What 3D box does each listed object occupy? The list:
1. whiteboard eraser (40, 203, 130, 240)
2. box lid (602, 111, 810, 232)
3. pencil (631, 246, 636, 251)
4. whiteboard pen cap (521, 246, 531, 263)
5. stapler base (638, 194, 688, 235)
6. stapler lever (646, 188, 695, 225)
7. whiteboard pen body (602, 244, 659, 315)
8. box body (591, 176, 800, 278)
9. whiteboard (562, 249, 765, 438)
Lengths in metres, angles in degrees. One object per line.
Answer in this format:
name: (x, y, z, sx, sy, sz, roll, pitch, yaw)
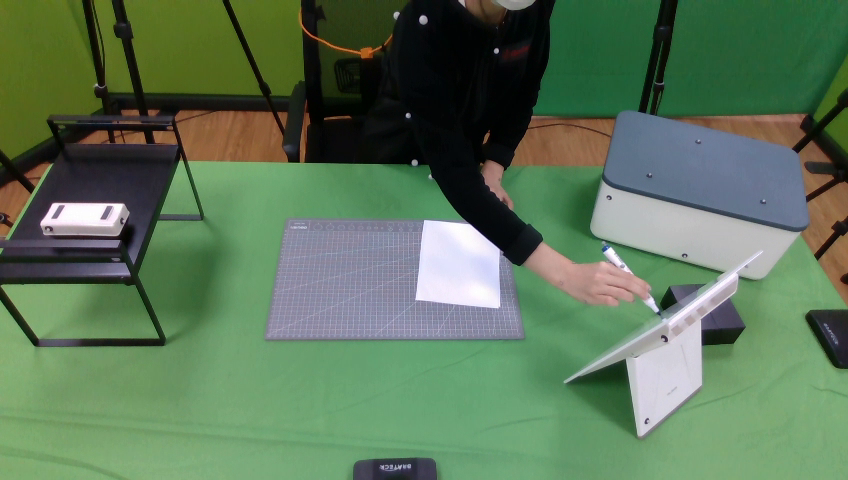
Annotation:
whiteboard eraser: (-0.513, -0.028, 0.922, 0.113, 0.042, 0.055, 1, 48, -3)
box lid: (0.545, -0.143, 1.176, 0.371, 0.015, 0.262, 15, 47, 11)
pencil: (0.431, -0.060, 1.284, 0.012, 0.012, 0.193, 3, 57, -2)
whiteboard pen cap: (0.200, 0.029, 1.187, 0.018, 0.018, 0.033, 15, 47, 9)
stapler base: (0.509, -0.059, 1.278, 0.041, 0.024, 0.129, -1, 39, -30)
stapler lever: (0.515, -0.078, 1.265, 0.027, 0.040, 0.117, -1, 41, -30)
whiteboard pen body: (0.335, 0.065, 0.977, 0.017, 0.017, 0.140, -35, 85, -31)
box body: (0.540, -0.092, 1.229, 0.363, 0.161, 0.253, 16, 47, 11)
whiteboard: (0.386, 0.176, 0.905, 0.217, 0.306, 0.143, -26, 72, -26)
